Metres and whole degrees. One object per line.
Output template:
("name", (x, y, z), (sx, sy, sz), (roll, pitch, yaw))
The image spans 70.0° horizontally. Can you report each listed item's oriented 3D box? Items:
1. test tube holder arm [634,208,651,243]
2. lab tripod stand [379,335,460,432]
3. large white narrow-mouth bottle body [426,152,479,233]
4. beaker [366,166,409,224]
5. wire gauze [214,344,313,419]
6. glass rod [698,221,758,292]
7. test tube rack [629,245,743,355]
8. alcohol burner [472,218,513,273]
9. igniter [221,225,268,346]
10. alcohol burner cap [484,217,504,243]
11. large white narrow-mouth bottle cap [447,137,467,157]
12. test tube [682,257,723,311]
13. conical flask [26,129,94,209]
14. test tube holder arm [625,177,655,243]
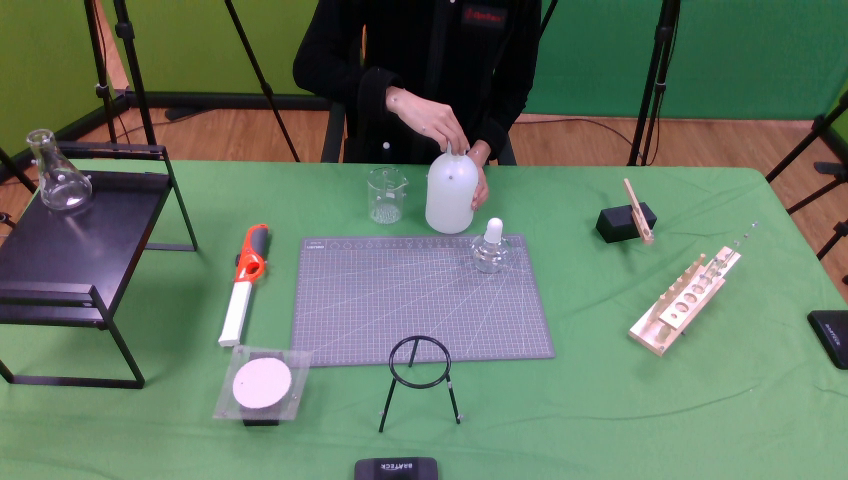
("test tube holder arm", (0.428, -0.030, 1.189), (0.010, 0.015, 0.087), (1, 47, -2))
("lab tripod stand", (-0.011, 0.214, 0.911), (0.148, 0.132, 0.147), (1, 45, 0))
("large white narrow-mouth bottle body", (0.057, -0.111, 1.187), (0.102, 0.195, 0.101), (2, 46, -2))
("beaker", (-0.074, -0.088, 1.222), (0.084, 0.101, 0.073), (4, 46, -1))
("wire gauze", (-0.241, 0.213, 0.916), (0.121, 0.011, 0.124), (5, 46, 1))
("glass rod", (0.527, 0.035, 1.060), (0.008, 0.200, 0.008), (5, 49, -6))
("test tube rack", (0.474, 0.095, 1.091), (0.242, 0.085, 0.066), (-34, 56, -31))
("alcohol burner", (0.128, 0.005, 1.132), (0.078, 0.120, 0.077), (0, 47, 0))
("igniter", (-0.323, 0.072, 1.100), (0.057, 0.025, 0.274), (-6, 45, 5))
("alcohol burner cap", (0.130, -0.021, 1.107), (0.034, 0.048, 0.033), (4, 41, -3))
("large white narrow-mouth bottle cap", (0.062, -0.172, 1.121), (0.038, 0.024, 0.037), (2, 46, -2))
("test tube", (0.475, 0.080, 1.037), (0.017, 0.151, 0.017), (1, 50, -1))
("conical flask", (-0.575, -0.113, 0.946), (0.075, 0.122, 0.075), (2, 46, -2))
("test tube holder arm", (0.433, -0.063, 1.220), (0.013, 0.015, 0.177), (1, 47, -3))
